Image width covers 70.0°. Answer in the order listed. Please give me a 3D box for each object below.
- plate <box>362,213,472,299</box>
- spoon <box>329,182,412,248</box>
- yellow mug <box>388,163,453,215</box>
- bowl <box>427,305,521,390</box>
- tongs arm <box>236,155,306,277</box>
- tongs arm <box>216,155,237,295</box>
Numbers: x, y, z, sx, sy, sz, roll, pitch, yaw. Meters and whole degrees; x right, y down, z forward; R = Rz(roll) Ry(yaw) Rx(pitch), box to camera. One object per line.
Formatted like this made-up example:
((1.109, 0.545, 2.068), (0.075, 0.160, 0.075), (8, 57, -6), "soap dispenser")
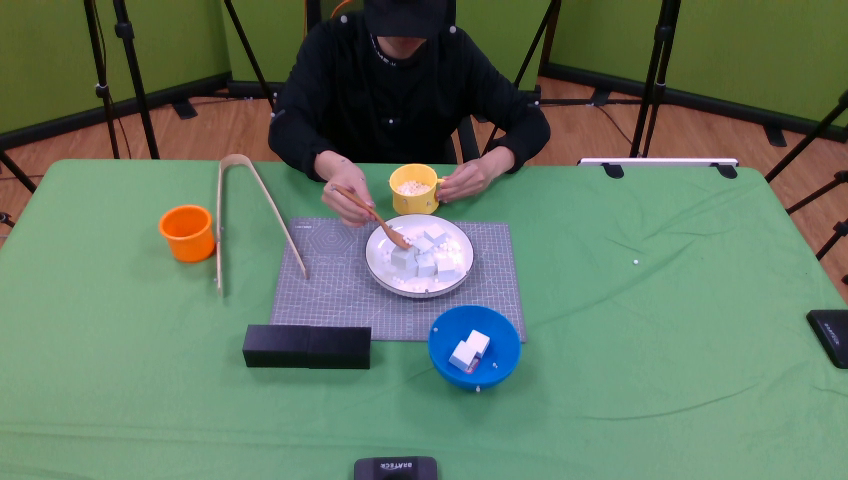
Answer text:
((-0.013, 0.034, 1.150), (0.208, 0.039, 0.206), (2, 46, -2), "plate")
((-0.089, -0.042, 1.032), (0.021, 0.195, 0.041), (-36, 36, 16), "spoon")
((-0.006, -0.104, 1.257), (0.131, 0.064, 0.099), (-3, 48, 2), "yellow mug")
((0.076, 0.188, 0.985), (0.151, 0.077, 0.150), (3, 46, -3), "bowl")
((-0.311, -0.060, 1.223), (0.028, 0.028, 0.385), (-23, 50, -17), "tongs arm")
((-0.388, -0.044, 1.200), (0.051, 0.026, 0.382), (-10, 46, -11), "tongs arm")
